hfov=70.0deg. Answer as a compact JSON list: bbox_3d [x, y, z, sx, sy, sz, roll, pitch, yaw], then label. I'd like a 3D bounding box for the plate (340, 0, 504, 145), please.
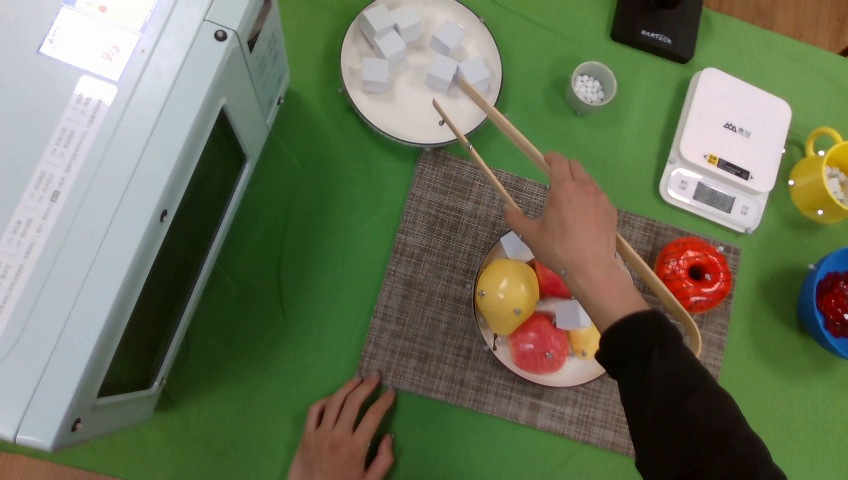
[{"bbox_3d":[-0.003,-0.218,0.777,0.208,0.039,0.207,2,80,-8],"label":"plate"}]

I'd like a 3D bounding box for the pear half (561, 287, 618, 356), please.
[{"bbox_3d":[0.205,0.099,0.746,0.070,0.031,0.087,17,75,8],"label":"pear half"}]

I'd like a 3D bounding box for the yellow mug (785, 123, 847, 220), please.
[{"bbox_3d":[0.557,-0.097,0.828,0.100,0.064,0.130,-15,82,-10],"label":"yellow mug"}]

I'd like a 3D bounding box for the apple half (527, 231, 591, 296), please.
[{"bbox_3d":[0.167,0.027,0.741,0.075,0.053,0.080,5,83,-5],"label":"apple half"}]

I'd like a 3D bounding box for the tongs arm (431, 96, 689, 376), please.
[{"bbox_3d":[0.131,-0.017,0.633,0.051,0.027,0.382,-32,74,-7],"label":"tongs arm"}]

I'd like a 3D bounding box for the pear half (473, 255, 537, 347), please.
[{"bbox_3d":[0.097,0.074,0.718,0.077,0.056,0.109,12,83,-15],"label":"pear half"}]

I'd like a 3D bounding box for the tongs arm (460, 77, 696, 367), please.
[{"bbox_3d":[0.152,-0.032,0.637,0.028,0.028,0.385,-34,74,-11],"label":"tongs arm"}]

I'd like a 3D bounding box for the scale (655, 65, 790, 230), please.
[{"bbox_3d":[0.409,-0.127,0.828,0.149,0.031,0.200,22,79,-4],"label":"scale"}]

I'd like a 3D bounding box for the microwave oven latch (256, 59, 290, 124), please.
[{"bbox_3d":[-0.186,-0.182,0.723,0.030,0.029,0.079,23,79,-5],"label":"microwave oven latch"}]

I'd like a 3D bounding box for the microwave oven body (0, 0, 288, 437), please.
[{"bbox_3d":[-0.368,-0.085,0.581,0.327,0.260,0.440,20,79,-5],"label":"microwave oven body"}]

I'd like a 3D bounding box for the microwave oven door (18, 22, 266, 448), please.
[{"bbox_3d":[-0.244,0.003,0.580,0.039,0.244,0.354,20,78,-5],"label":"microwave oven door"}]

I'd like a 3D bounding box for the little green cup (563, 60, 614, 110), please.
[{"bbox_3d":[0.216,-0.204,0.808,0.062,0.038,0.061,2,80,-8],"label":"little green cup"}]

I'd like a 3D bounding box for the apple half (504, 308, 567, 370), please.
[{"bbox_3d":[0.138,0.119,0.730,0.081,0.033,0.081,3,74,-9],"label":"apple half"}]

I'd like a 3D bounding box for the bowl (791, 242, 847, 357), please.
[{"bbox_3d":[0.541,0.080,0.791,0.152,0.077,0.151,1,81,-8],"label":"bowl"}]

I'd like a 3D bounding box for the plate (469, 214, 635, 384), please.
[{"bbox_3d":[0.156,0.072,0.749,0.209,0.038,0.208,2,81,-9],"label":"plate"}]

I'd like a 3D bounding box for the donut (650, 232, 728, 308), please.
[{"bbox_3d":[0.339,0.039,0.779,0.099,0.048,0.098,1,80,-6],"label":"donut"}]
